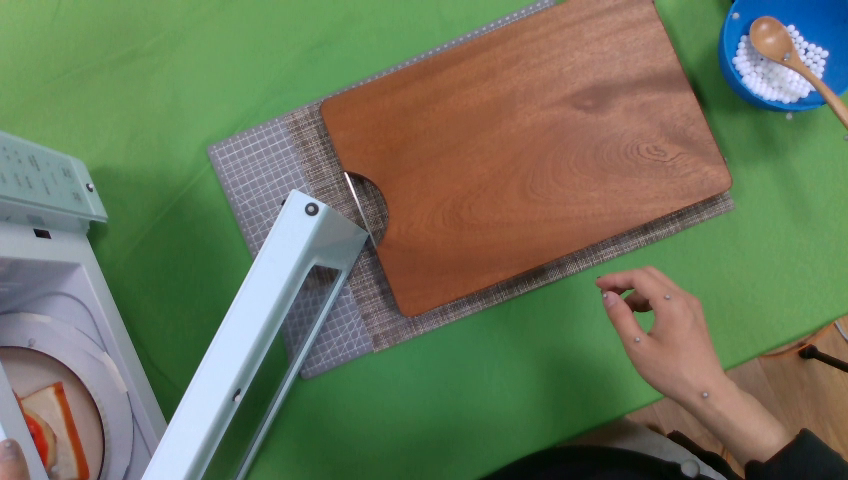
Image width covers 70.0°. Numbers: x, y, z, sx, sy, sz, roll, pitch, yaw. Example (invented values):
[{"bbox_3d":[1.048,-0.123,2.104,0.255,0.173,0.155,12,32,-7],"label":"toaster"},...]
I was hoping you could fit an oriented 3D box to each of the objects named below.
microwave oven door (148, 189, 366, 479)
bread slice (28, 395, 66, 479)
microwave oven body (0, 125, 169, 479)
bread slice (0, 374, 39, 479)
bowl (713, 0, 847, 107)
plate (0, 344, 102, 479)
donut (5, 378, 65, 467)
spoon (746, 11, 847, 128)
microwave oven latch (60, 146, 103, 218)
[{"bbox_3d":[-0.163,0.128,0.571,0.039,0.244,0.355,26,88,4],"label":"microwave oven door"},{"bbox_3d":[-0.441,0.215,0.628,0.131,0.019,0.104,-1,87,1],"label":"bread slice"},{"bbox_3d":[-0.461,0.150,0.583,0.326,0.260,0.441,-25,87,0],"label":"microwave oven body"},{"bbox_3d":[-0.431,0.193,0.568,0.134,0.018,0.107,-25,88,11],"label":"bread slice"},{"bbox_3d":[0.387,-0.213,0.671,0.151,0.077,0.151,0,87,2],"label":"bowl"},{"bbox_3d":[-0.436,0.211,0.627,0.208,0.039,0.207,0,85,-2],"label":"plate"},{"bbox_3d":[-0.413,0.188,0.607,0.099,0.048,0.098,0,82,1],"label":"donut"},{"bbox_3d":[0.407,-0.171,0.639,0.041,0.022,0.192,-25,63,-1],"label":"spoon"},{"bbox_3d":[-0.398,-0.065,0.689,0.030,0.029,0.079,-25,87,0],"label":"microwave oven latch"}]
